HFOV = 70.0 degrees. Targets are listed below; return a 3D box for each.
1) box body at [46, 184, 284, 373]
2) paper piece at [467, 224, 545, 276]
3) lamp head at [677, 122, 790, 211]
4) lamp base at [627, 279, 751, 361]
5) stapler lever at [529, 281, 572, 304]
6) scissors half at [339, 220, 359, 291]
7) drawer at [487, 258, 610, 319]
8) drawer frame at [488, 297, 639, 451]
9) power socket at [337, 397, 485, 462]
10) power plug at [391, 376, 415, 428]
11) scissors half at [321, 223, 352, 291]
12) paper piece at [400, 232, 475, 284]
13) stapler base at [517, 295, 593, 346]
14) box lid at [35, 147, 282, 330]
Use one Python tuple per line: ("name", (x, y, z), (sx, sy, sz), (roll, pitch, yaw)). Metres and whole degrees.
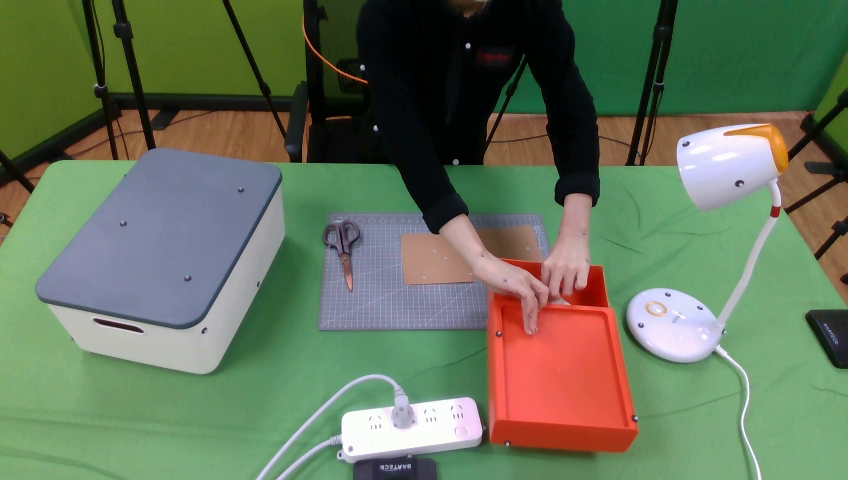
("box body", (-0.414, 0.029, 1.039), (0.254, 0.161, 0.362), (10, 46, 5))
("paper piece", (0.163, 0.019, 1.199), (0.136, 0.009, 0.137), (-1, 45, -10))
("lamp head", (0.423, -0.104, 0.819), (0.122, 0.113, 0.112), (-13, 33, 39))
("lamp base", (0.460, 0.100, 1.026), (0.178, 0.181, 0.160), (27, 51, 17))
("stapler lever", (0.227, 0.110, 0.997), (0.118, 0.040, 0.027), (31, 51, 14))
("scissors half", (-0.144, 0.026, 1.162), (0.040, 0.013, 0.174), (-8, 50, 1))
("drawer", (0.204, 0.132, 0.986), (0.194, 0.073, 0.210), (5, 47, -1))
("drawer frame", (0.201, 0.198, 0.919), (0.202, 0.083, 0.212), (4, 47, -1))
("power socket", (-0.018, 0.285, 0.915), (0.227, 0.033, 0.071), (-5, 46, -8))
("power plug", (-0.030, 0.249, 0.917), (0.035, 0.053, 0.072), (3, 46, -1))
("scissors half", (-0.163, 0.031, 1.160), (0.040, 0.013, 0.174), (-17, 51, -13))
("paper piece", (0.024, 0.032, 1.175), (0.135, 0.004, 0.135), (-1, 46, -6))
("stapler base", (0.222, 0.128, 1.017), (0.130, 0.024, 0.041), (29, 51, 16))
("box lid", (-0.411, -0.023, 0.987), (0.263, 0.015, 0.369), (10, 47, 5))
